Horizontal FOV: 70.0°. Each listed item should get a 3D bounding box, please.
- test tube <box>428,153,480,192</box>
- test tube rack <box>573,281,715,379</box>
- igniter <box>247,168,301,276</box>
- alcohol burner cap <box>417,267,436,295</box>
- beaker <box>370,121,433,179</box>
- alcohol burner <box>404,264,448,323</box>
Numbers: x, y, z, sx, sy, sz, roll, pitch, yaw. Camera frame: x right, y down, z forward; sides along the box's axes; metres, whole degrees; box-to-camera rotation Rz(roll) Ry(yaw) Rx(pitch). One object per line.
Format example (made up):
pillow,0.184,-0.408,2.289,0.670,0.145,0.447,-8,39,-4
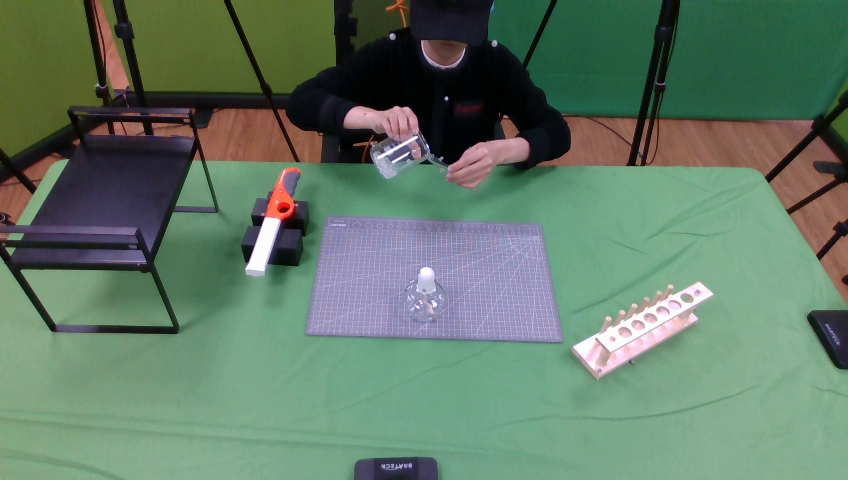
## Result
test tube,0.063,-0.131,1.196,0.151,0.017,0.017,30,30,-40
test tube rack,0.378,0.140,1.038,0.242,0.085,0.066,-22,51,-23
igniter,-0.282,-0.043,1.149,0.057,0.025,0.275,8,48,-1
alcohol burner cap,0.004,0.066,1.019,0.034,0.048,0.033,0,47,1
beaker,-0.042,-0.163,1.127,0.100,0.084,0.073,-27,45,9
alcohol burner,0.003,0.087,1.042,0.078,0.120,0.077,1,45,0
